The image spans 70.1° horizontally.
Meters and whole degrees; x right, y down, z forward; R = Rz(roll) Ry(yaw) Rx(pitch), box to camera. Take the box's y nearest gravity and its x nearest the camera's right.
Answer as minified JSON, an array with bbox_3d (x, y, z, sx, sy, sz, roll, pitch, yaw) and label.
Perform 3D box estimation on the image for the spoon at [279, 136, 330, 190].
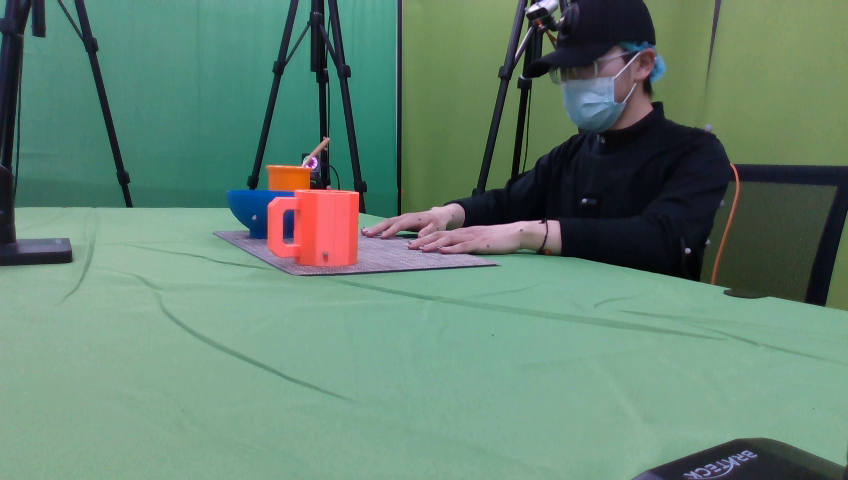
[{"bbox_3d":[-0.245,-0.150,1.234,0.041,0.194,0.022,8,-35,33],"label":"spoon"}]

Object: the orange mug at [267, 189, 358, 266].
[{"bbox_3d":[-0.145,-0.019,0.797,0.127,0.100,0.083,2,6,-37],"label":"orange mug"}]

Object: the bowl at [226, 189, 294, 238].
[{"bbox_3d":[-0.264,-0.046,1.050,0.151,0.077,0.151,2,7,0],"label":"bowl"}]
